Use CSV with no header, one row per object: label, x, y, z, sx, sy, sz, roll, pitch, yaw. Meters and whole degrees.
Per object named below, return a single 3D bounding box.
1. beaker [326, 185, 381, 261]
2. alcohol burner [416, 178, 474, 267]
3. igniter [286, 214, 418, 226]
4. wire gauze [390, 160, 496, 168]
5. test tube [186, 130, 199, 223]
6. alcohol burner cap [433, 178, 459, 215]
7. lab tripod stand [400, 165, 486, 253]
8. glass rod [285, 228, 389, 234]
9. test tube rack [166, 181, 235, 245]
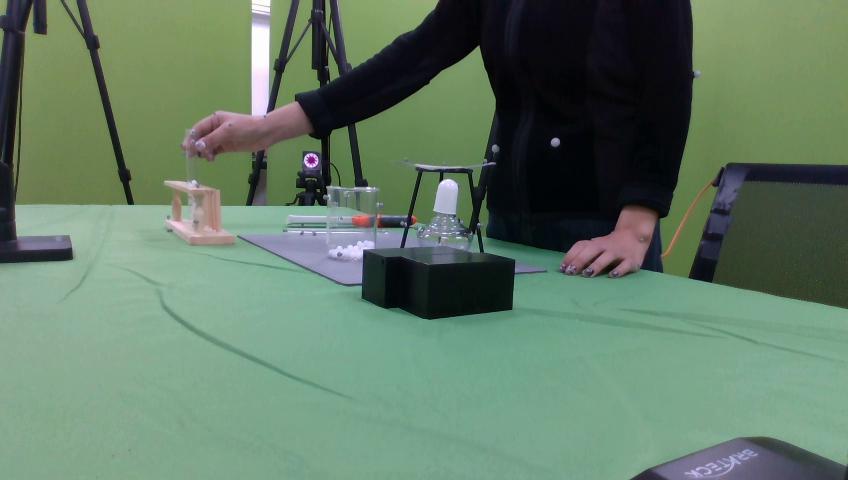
beaker,-0.100,-0.025,0.835,0.074,0.100,0.083,0,7,-23
alcohol burner,0.029,-0.024,0.810,0.078,0.119,0.078,1,9,0
igniter,-0.146,-0.043,1.263,0.278,0.025,0.057,-1,-2,-24
wire gauze,0.027,-0.115,0.919,0.122,0.011,0.124,-4,10,-34
test tube,-0.371,-0.101,0.973,0.017,0.150,0.017,1,8,0
alcohol burner cap,0.031,-0.059,0.806,0.034,0.048,0.034,9,10,-1
lab tripod stand,0.027,-0.049,0.930,0.148,0.131,0.148,2,9,0
glass rod,-0.154,-0.016,1.101,0.201,0.008,0.008,1,6,-31
test tube rack,-0.383,-0.051,1.024,0.067,0.085,0.241,-2,9,-31
